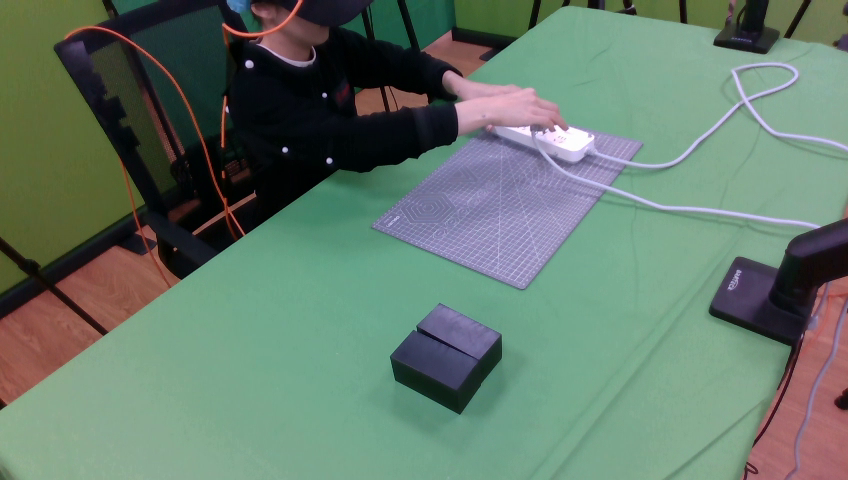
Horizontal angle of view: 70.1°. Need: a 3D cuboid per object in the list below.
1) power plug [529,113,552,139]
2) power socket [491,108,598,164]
[{"bbox_3d":[0.207,-0.203,1.110,0.035,0.053,0.072,31,74,34],"label":"power plug"},{"bbox_3d":[0.226,-0.204,1.168,0.225,0.033,0.072,29,52,35],"label":"power socket"}]
